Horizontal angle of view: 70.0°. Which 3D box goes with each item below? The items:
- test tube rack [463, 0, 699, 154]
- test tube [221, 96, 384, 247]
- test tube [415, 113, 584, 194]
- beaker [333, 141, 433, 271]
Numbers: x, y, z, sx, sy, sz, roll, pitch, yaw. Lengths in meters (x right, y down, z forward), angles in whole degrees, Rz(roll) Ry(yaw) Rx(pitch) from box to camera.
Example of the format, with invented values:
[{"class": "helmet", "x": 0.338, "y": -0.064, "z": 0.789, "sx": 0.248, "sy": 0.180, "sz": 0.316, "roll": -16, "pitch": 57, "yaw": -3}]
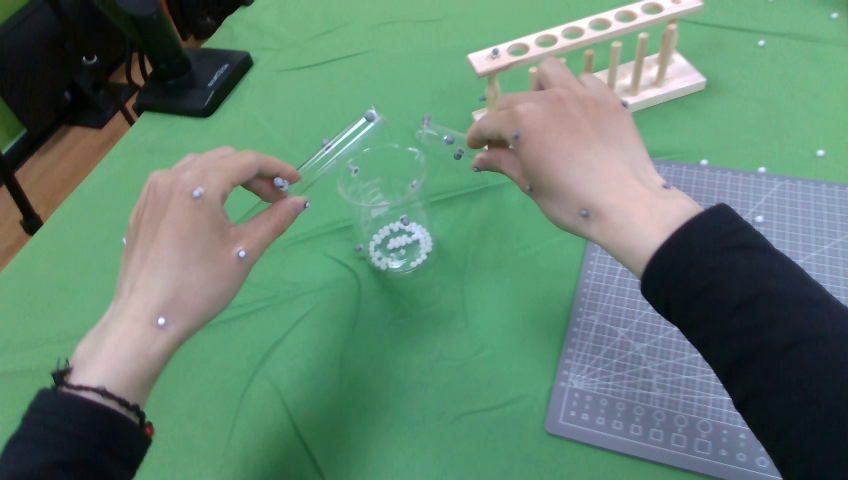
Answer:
[{"class": "test tube rack", "x": 0.168, "y": -0.177, "z": 0.634, "sx": 0.242, "sy": 0.086, "sz": 0.066, "roll": -18, "pitch": 51, "yaw": -5}, {"class": "test tube", "x": -0.086, "y": -0.044, "z": 0.415, "sx": 0.150, "sy": 0.017, "sz": 0.017, "roll": -39, "pitch": 50, "yaw": 14}, {"class": "test tube", "x": 0.061, "y": -0.063, "z": 0.460, "sx": 0.151, "sy": 0.017, "sz": 0.017, "roll": 17, "pitch": 46, "yaw": -24}, {"class": "beaker", "x": -0.030, "y": -0.028, "z": 0.538, "sx": 0.084, "sy": 0.101, "sz": 0.073, "roll": -40, "pitch": 56, "yaw": -22}]
